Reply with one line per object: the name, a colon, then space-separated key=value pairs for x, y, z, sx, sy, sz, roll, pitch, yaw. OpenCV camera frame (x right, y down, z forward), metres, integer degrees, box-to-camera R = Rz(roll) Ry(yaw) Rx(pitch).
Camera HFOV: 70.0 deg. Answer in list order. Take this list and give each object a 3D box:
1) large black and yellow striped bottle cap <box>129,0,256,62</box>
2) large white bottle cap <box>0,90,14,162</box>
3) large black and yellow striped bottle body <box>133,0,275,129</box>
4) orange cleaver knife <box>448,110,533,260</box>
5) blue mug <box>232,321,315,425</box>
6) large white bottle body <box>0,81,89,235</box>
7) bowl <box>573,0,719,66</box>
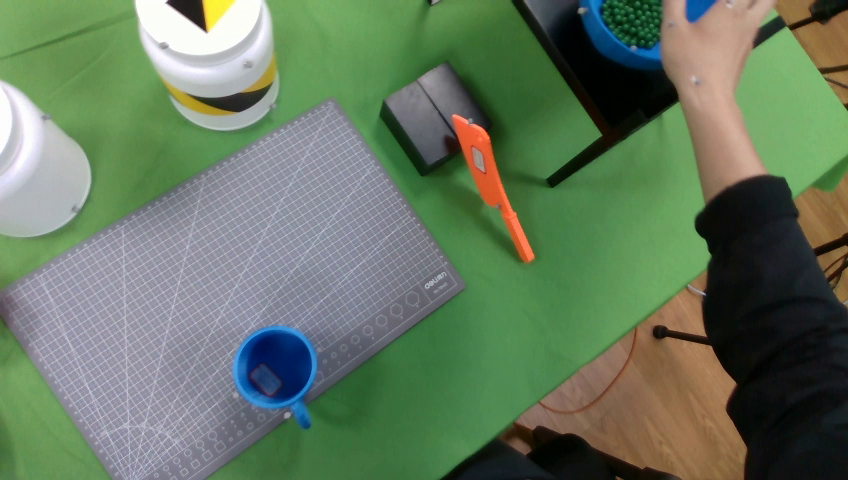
large black and yellow striped bottle cap: x=-0.222 y=-0.230 z=0.586 sx=0.115 sy=0.019 sz=0.114 roll=2 pitch=81 yaw=-12
large white bottle cap: x=-0.421 y=-0.100 z=0.524 sx=0.115 sy=0.018 sz=0.114 roll=2 pitch=80 yaw=-10
large black and yellow striped bottle body: x=-0.236 y=-0.213 z=0.667 sx=0.131 sy=0.184 sz=0.130 roll=2 pitch=80 yaw=-10
orange cleaver knife: x=0.083 y=-0.066 z=0.754 sx=0.012 sy=0.076 sz=0.213 roll=-36 pitch=119 yaw=-15
blue mug: x=-0.153 y=0.148 z=0.661 sx=0.082 sy=0.106 sz=0.116 roll=-26 pitch=86 yaw=-14
large white bottle body: x=-0.435 y=-0.085 z=0.606 sx=0.131 sy=0.185 sz=0.130 roll=2 pitch=79 yaw=-10
bowl: x=0.216 y=-0.242 z=0.630 sx=0.152 sy=0.077 sz=0.151 roll=2 pitch=80 yaw=-11
